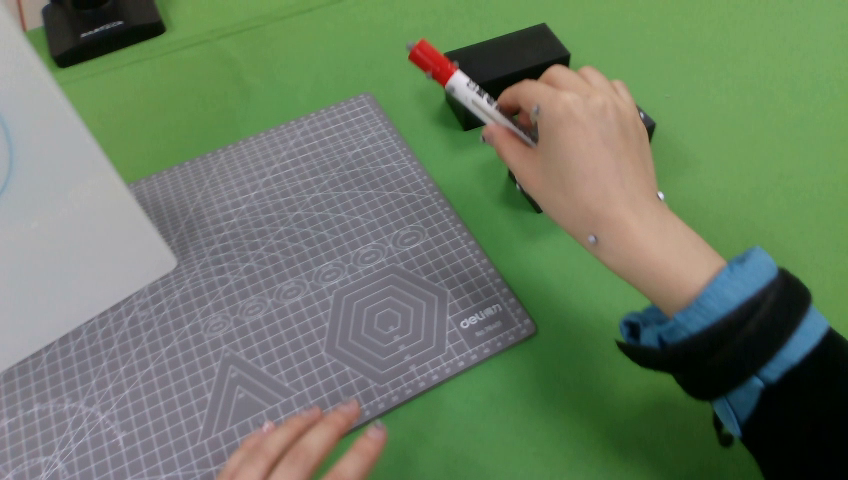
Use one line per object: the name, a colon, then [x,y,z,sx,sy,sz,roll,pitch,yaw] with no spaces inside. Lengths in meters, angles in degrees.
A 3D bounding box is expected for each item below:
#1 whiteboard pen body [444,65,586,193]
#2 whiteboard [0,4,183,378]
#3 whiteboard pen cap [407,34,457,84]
whiteboard pen body: [0.051,-0.081,0.399,0.141,0.017,0.017,41,64,-2]
whiteboard: [-0.351,-0.064,0.401,0.217,0.308,0.142,-33,39,-17]
whiteboard pen cap: [0.006,-0.118,0.396,0.032,0.017,0.017,41,64,-2]
